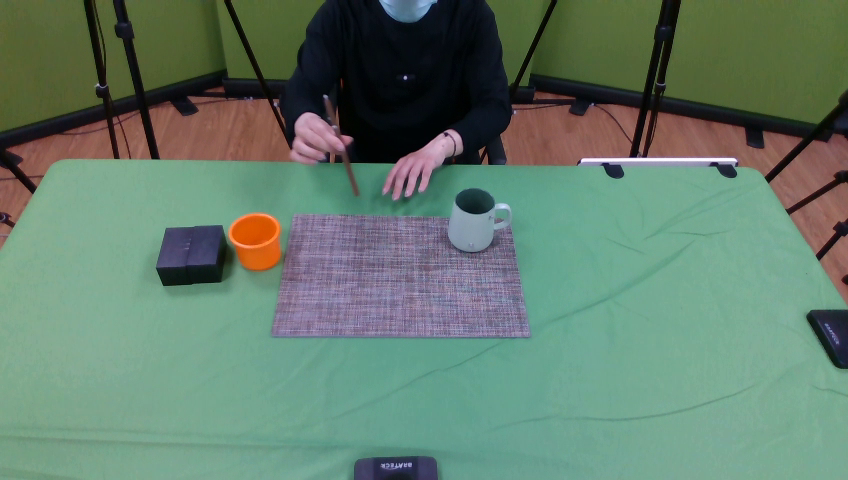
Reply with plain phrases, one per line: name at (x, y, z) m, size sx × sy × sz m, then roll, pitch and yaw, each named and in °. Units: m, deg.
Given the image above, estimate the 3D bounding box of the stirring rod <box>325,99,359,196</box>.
stirring rod at (-0.142, -0.160, 1.060) m, size 0.006 × 0.177 × 0.014 m, roll -8°, pitch 21°, yaw 21°

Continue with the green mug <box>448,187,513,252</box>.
green mug at (0.111, -0.041, 1.179) m, size 0.125 × 0.105 × 0.092 m, roll -7°, pitch 47°, yaw -10°
